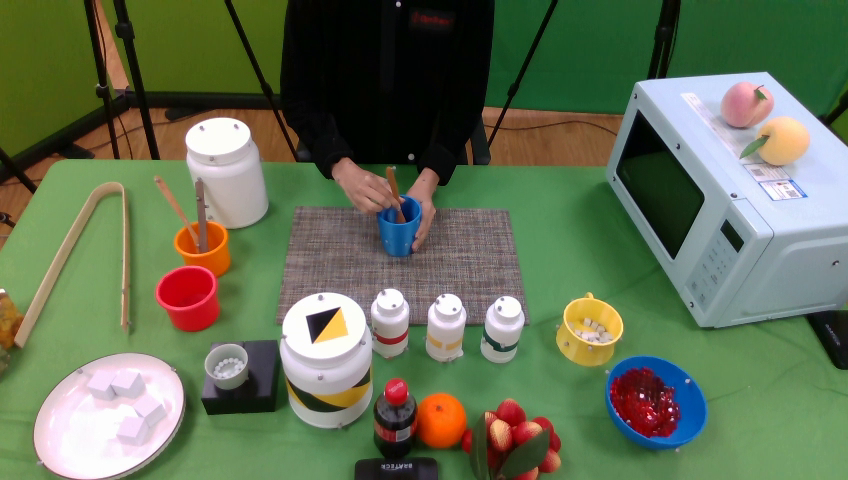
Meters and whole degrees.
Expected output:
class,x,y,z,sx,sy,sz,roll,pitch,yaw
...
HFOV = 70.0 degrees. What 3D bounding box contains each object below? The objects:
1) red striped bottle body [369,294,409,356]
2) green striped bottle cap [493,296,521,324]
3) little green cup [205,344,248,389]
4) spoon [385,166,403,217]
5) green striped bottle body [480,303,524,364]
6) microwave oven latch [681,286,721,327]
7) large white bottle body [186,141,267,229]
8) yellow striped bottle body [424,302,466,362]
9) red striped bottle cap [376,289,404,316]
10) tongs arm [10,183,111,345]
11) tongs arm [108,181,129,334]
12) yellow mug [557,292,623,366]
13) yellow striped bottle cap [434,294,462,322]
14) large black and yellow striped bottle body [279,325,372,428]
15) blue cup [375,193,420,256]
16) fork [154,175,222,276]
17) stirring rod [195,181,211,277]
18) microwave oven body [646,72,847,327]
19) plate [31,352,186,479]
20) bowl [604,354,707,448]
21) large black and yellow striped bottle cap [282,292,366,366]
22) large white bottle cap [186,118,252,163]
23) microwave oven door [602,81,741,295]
class,x,y,z,sx,sy,sz,roll,pitch,yaw
red striped bottle body,-0.059,0.134,0.997,0.063,0.120,0.062,5,48,-5
green striped bottle cap,0.133,0.111,0.962,0.044,0.020,0.044,2,47,-2
little green cup,-0.293,0.191,0.909,0.061,0.039,0.061,1,47,-1
spoon,-0.052,-0.066,1.120,0.041,0.195,0.021,6,48,15
green striped bottle body,0.129,0.147,1.000,0.063,0.120,0.063,2,46,-2
microwave oven latch,0.494,0.119,1.086,0.030,0.029,0.078,-5,46,-9
large white bottle body,-0.382,-0.127,1.176,0.131,0.185,0.130,2,46,-2
yellow striped bottle body,0.035,0.143,0.995,0.063,0.121,0.062,3,46,-3
red striped bottle cap,-0.054,0.098,0.958,0.044,0.018,0.044,0,48,1
tongs arm,-0.658,0.027,1.109,0.028,0.028,0.385,-2,45,1
tongs arm,-0.571,0.019,1.123,0.051,0.026,0.382,-10,47,-12
yellow mug,0.285,0.145,1.051,0.100,0.064,0.130,7,46,4
yellow striped bottle cap,0.038,0.107,0.958,0.044,0.019,0.044,2,45,-2
large black and yellow striped bottle body,-0.143,0.181,0.900,0.131,0.185,0.130,2,46,-2
blue cup,-0.050,-0.023,1.156,0.093,0.101,0.092,1,48,-1
fork,-0.431,-0.027,1.101,0.028,0.018,0.207,-33,100,-25
stirring rod,-0.403,-0.020,1.104,0.014,0.006,0.176,-6,89,-8
microwave oven body,0.607,-0.089,1.163,0.326,0.261,0.438,-7,46,-10
plate,-0.459,0.262,0.898,0.209,0.038,0.208,2,46,-2
bowl,0.346,0.261,0.937,0.151,0.077,0.150,2,46,-2
large black and yellow striped bottle cap,-0.138,0.121,0.841,0.115,0.019,0.114,3,47,-3
large white bottle cap,-0.377,-0.185,1.115,0.115,0.018,0.114,2,47,-2
microwave oven door,0.456,-0.107,1.162,0.039,0.245,0.353,-7,47,-11
